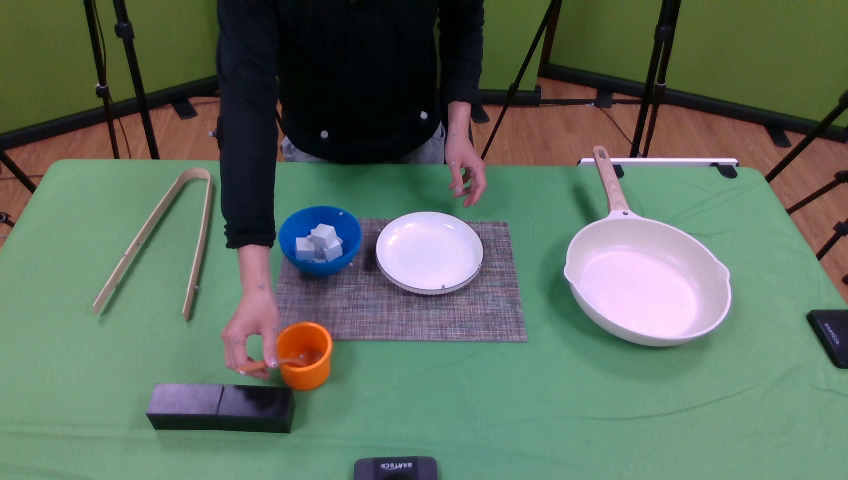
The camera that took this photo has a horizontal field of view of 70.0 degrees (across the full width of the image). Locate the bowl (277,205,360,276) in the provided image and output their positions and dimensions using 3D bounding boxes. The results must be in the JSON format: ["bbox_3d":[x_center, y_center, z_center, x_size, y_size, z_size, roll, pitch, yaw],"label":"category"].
[{"bbox_3d":[-0.193,0.013,1.125,0.151,0.077,0.150,2,46,-2],"label":"bowl"}]

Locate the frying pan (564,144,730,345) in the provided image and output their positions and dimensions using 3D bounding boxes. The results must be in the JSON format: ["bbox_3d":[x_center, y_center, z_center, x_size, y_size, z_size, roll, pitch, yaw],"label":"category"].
[{"bbox_3d":[0.396,-0.008,1.179,0.307,0.103,0.484,0,55,-5],"label":"frying pan"}]

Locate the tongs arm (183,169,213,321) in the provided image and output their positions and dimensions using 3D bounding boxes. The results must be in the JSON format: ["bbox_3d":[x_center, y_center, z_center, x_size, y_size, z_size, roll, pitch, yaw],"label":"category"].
[{"bbox_3d":[-0.436,-0.005,1.167,0.028,0.028,0.385,-5,47,-6],"label":"tongs arm"}]

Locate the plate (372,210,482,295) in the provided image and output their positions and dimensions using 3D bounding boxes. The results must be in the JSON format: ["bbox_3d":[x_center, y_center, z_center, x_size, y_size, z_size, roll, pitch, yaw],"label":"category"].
[{"bbox_3d":[0.005,0.028,1.155,0.208,0.039,0.206,3,46,-2],"label":"plate"}]

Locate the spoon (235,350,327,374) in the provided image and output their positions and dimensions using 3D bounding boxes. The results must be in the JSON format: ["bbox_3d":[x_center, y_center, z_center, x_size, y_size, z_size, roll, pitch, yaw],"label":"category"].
[{"bbox_3d":[-0.212,0.184,0.916,0.041,0.194,0.021,44,102,25],"label":"spoon"}]

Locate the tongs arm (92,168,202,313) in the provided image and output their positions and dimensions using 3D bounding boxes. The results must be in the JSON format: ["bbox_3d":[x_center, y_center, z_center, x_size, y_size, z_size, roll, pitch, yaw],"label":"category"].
[{"bbox_3d":[-0.518,-0.012,1.160,0.051,0.026,0.382,7,45,1],"label":"tongs arm"}]
